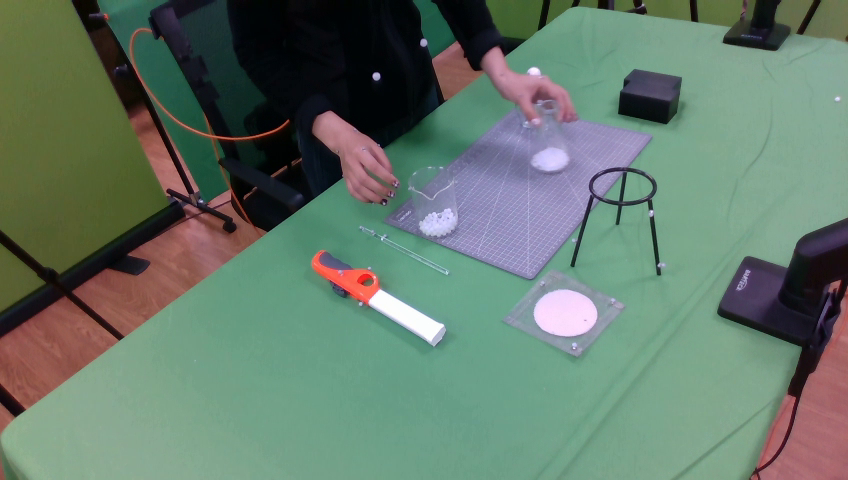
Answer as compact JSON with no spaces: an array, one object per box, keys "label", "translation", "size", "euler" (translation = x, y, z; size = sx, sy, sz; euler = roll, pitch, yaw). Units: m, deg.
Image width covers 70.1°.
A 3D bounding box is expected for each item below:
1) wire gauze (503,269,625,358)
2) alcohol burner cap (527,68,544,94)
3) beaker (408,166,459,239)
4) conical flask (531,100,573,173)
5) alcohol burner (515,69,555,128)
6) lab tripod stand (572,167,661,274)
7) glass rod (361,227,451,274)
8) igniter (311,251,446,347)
[{"label":"wire gauze","translation":[0.194,0.100,0.840],"size":[0.120,0.011,0.125],"euler":[27,54,36]},{"label":"alcohol burner cap","translation":[0.216,-0.312,1.179],"size":[0.034,0.048,0.033],"euler":[-10,40,8]},{"label":"beaker","translation":[0.018,-0.057,0.984],"size":[0.074,0.101,0.083],"euler":[-6,41,6]},{"label":"conical flask","translation":[0.228,-0.186,1.074],"size":[0.075,0.122,0.075],"euler":[-5,41,5]},{"label":"alcohol burner","translation":[0.221,-0.285,1.203],"size":[0.078,0.119,0.077],"euler":[-4,39,4]},{"label":"lab tripod stand","translation":[0.284,-0.030,0.879],"size":[0.148,0.132,0.147],"euler":[-7,38,6]},{"label":"glass rod","translation":[-0.033,0.014,0.985],"size":[0.198,0.008,0.008],"euler":[25,52,34]},{"label":"igniter","translation":[-0.078,0.081,0.899],"size":[0.274,0.025,0.057],"euler":[27,62,35]}]
